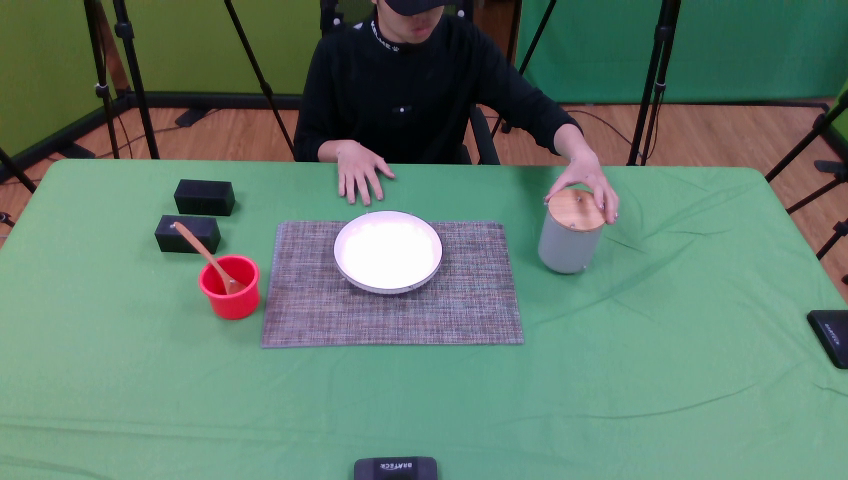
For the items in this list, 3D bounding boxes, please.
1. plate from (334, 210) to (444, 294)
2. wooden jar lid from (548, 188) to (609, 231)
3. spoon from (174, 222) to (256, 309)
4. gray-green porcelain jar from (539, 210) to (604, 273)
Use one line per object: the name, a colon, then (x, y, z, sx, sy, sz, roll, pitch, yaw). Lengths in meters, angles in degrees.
plate: (-0.066, 0.026, 1.150, 0.208, 0.039, 0.206, 2, 46, -2)
wooden jar lid: (0.280, -0.052, 1.105, 0.108, 0.021, 0.107, 0, 48, 0)
spoon: (-0.360, 0.043, 1.043, 0.194, 0.021, 0.041, 54, 51, -14)
gray-green porcelain jar: (0.277, -0.008, 1.151, 0.106, 0.127, 0.105, 2, 46, -2)
